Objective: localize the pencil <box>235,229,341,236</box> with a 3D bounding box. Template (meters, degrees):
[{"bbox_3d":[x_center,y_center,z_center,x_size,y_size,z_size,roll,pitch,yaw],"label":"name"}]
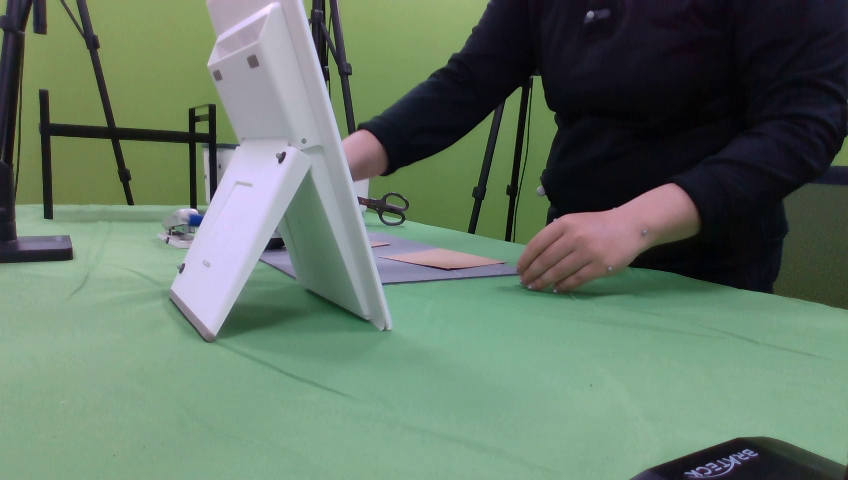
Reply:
[{"bbox_3d":[-0.232,-0.012,1.054,0.195,0.012,0.012,0,8,-36],"label":"pencil"}]

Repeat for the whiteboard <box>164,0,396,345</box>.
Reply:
[{"bbox_3d":[-0.173,-0.053,0.511,0.144,0.305,0.216,-23,19,-26],"label":"whiteboard"}]

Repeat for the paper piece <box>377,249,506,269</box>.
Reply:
[{"bbox_3d":[0.025,0.026,0.865,0.134,0.004,0.136,10,9,43],"label":"paper piece"}]

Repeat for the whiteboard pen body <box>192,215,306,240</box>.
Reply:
[{"bbox_3d":[-0.217,-0.017,0.757,0.141,0.017,0.017,10,4,-26],"label":"whiteboard pen body"}]

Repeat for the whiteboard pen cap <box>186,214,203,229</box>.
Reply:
[{"bbox_3d":[-0.270,-0.021,0.732,0.033,0.018,0.018,8,4,-27],"label":"whiteboard pen cap"}]

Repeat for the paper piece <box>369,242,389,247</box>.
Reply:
[{"bbox_3d":[-0.151,0.003,0.978,0.135,0.008,0.139,13,10,35],"label":"paper piece"}]

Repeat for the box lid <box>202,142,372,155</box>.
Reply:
[{"bbox_3d":[-0.344,-0.225,1.509,0.373,0.015,0.262,-2,8,-31],"label":"box lid"}]

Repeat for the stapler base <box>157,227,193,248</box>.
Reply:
[{"bbox_3d":[-0.376,-0.007,0.935,0.041,0.024,0.130,1,5,-38],"label":"stapler base"}]

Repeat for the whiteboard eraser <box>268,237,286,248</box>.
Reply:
[{"bbox_3d":[-0.253,-0.008,0.886,0.055,0.042,0.113,12,12,42],"label":"whiteboard eraser"}]

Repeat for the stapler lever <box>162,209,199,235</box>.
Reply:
[{"bbox_3d":[-0.376,-0.031,0.933,0.027,0.040,0.117,1,7,-38],"label":"stapler lever"}]

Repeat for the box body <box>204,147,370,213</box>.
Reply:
[{"bbox_3d":[-0.346,-0.152,1.519,0.366,0.160,0.253,-2,9,-31],"label":"box body"}]

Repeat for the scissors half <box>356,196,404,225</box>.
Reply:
[{"bbox_3d":[-0.127,-0.072,1.322,0.175,0.040,0.013,23,9,-5],"label":"scissors half"}]

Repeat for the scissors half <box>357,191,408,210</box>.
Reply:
[{"bbox_3d":[-0.122,-0.091,1.318,0.175,0.040,0.013,6,15,-2],"label":"scissors half"}]
